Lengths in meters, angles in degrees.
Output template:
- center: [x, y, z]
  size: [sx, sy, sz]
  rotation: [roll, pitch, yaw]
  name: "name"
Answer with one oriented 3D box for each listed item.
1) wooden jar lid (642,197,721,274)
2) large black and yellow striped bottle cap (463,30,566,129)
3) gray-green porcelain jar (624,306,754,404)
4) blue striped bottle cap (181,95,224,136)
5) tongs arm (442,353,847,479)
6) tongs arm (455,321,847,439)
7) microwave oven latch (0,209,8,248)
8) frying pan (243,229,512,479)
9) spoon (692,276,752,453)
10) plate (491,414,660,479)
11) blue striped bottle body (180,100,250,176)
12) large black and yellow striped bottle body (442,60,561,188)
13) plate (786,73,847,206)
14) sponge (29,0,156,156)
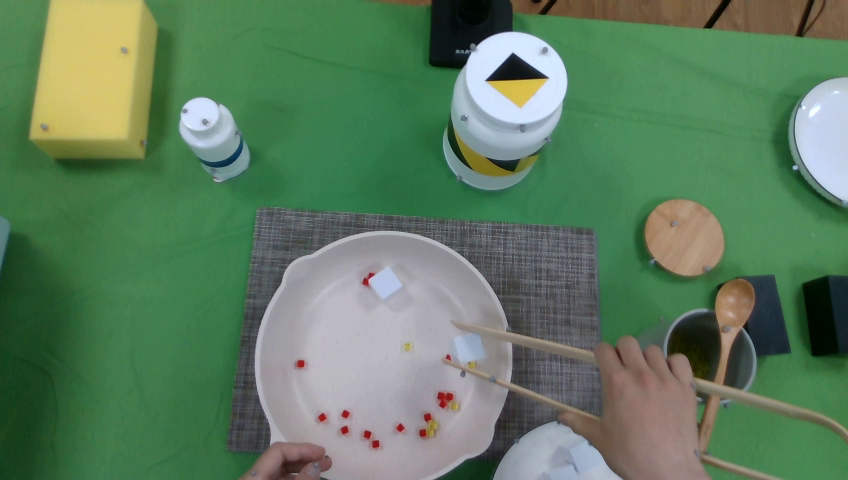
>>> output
- center: [0.346, -0.005, 0.818]
  size: [0.108, 0.021, 0.108]
  rotation: [1, 76, -4]
  name: "wooden jar lid"
- center: [0.101, -0.180, 0.675]
  size: [0.115, 0.019, 0.114]
  rotation: [1, 76, -4]
  name: "large black and yellow striped bottle cap"
- center: [0.306, 0.141, 0.719]
  size: [0.106, 0.127, 0.105]
  rotation: [1, 74, -4]
  name: "gray-green porcelain jar"
- center: [-0.257, -0.145, 0.702]
  size: [0.044, 0.021, 0.044]
  rotation: [1, 76, -4]
  name: "blue striped bottle cap"
- center: [0.177, 0.148, 0.573]
  size: [0.381, 0.027, 0.050]
  rotation: [14, 68, 40]
  name: "tongs arm"
- center: [0.187, 0.126, 0.581]
  size: [0.384, 0.028, 0.028]
  rotation: [9, 62, 39]
  name: "tongs arm"
- center: [-0.520, -0.001, 0.718]
  size: [0.030, 0.029, 0.078]
  rotation: [7, 75, -3]
  name: "microwave oven latch"
- center: [-0.115, 0.200, 0.677]
  size: [0.306, 0.103, 0.487]
  rotation: [43, 68, 9]
  name: "frying pan"
- center: [0.315, 0.132, 0.650]
  size: [0.041, 0.022, 0.193]
  rotation: [20, 78, -3]
  name: "spoon"
- center: [0.174, 0.309, 0.706]
  size: [0.208, 0.039, 0.206]
  rotation: [1, 76, -4]
  name: "plate"
- center: [-0.260, -0.130, 0.751]
  size: [0.063, 0.121, 0.062]
  rotation: [1, 74, -4]
  name: "blue striped bottle body"
- center: [0.094, -0.156, 0.755]
  size: [0.131, 0.185, 0.130]
  rotation: [1, 74, -4]
  name: "large black and yellow striped bottle body"
- center: [0.616, -0.138, 0.867]
  size: [0.209, 0.038, 0.208]
  rotation: [1, 74, -4]
  name: "plate"
- center: [-0.428, -0.216, 0.792]
  size: [0.118, 0.061, 0.205]
  rotation: [-1, 75, -5]
  name: "sponge"
